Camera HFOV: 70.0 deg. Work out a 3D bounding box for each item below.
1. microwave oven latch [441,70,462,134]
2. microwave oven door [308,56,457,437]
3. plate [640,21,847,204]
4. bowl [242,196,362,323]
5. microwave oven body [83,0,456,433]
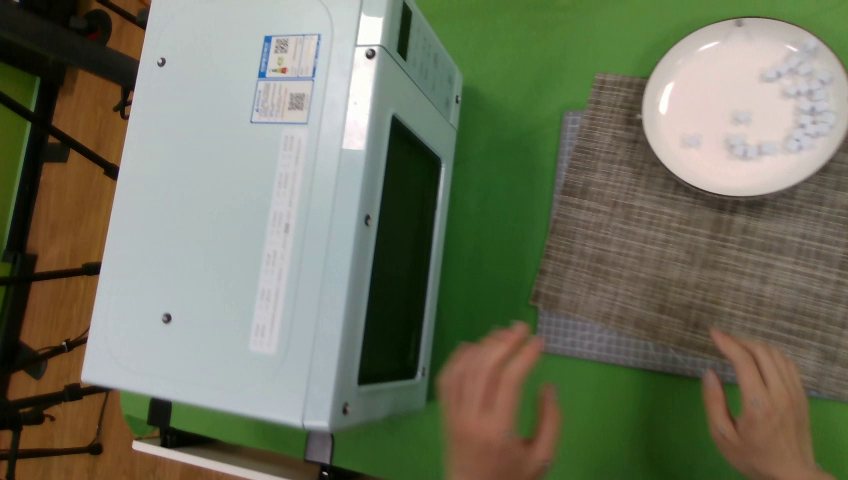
[{"bbox_3d":[0.031,-0.178,0.780,0.030,0.030,0.079,4,83,21],"label":"microwave oven latch"},{"bbox_3d":[-0.033,0.019,0.659,0.039,0.245,0.354,4,82,21],"label":"microwave oven door"},{"bbox_3d":[0.350,-0.138,0.669,0.208,0.038,0.208,-4,78,20],"label":"plate"},{"bbox_3d":[-0.134,0.028,0.734,0.151,0.077,0.150,-4,79,19],"label":"bowl"},{"bbox_3d":[-0.162,-0.030,0.721,0.324,0.262,0.440,4,83,20],"label":"microwave oven body"}]
